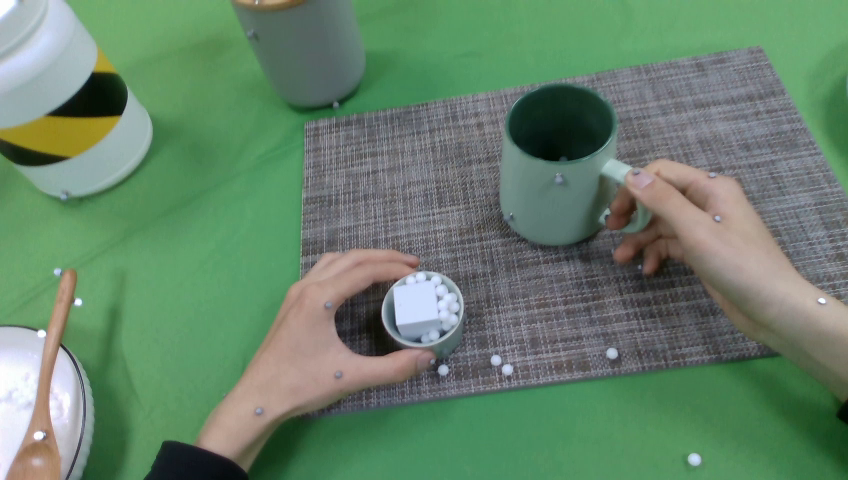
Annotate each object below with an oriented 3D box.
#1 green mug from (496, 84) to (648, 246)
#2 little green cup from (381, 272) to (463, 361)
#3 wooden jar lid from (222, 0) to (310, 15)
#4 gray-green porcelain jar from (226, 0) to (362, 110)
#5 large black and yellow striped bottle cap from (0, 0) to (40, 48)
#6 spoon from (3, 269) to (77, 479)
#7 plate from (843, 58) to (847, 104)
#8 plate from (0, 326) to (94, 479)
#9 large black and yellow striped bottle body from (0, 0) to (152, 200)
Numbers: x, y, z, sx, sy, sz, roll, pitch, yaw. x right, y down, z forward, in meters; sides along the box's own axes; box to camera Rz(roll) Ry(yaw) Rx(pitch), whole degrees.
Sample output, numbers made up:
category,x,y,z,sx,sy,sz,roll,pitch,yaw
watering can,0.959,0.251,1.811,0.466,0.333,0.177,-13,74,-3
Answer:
category,x,y,z,sx,sy,sz,roll,pitch,yaw
green mug,0.114,-0.048,0.467,0.124,0.106,0.092,32,68,26
little green cup,0.001,0.060,0.456,0.061,0.039,0.061,-5,55,7
wooden jar lid,-0.131,-0.235,0.542,0.108,0.021,0.107,-4,60,7
gray-green porcelain jar,-0.121,-0.201,0.593,0.106,0.128,0.105,-4,57,7
large black and yellow striped bottle cap,-0.370,-0.181,0.486,0.115,0.019,0.114,-4,56,7
spoon,-0.286,0.108,0.460,0.041,0.022,0.192,-7,66,4
plate,0.458,-0.116,0.498,0.207,0.039,0.205,-4,58,7
plate,-0.343,0.165,0.452,0.209,0.038,0.207,-4,57,7
large black and yellow striped bottle body,-0.357,-0.138,0.557,0.130,0.186,0.129,-4,58,7
